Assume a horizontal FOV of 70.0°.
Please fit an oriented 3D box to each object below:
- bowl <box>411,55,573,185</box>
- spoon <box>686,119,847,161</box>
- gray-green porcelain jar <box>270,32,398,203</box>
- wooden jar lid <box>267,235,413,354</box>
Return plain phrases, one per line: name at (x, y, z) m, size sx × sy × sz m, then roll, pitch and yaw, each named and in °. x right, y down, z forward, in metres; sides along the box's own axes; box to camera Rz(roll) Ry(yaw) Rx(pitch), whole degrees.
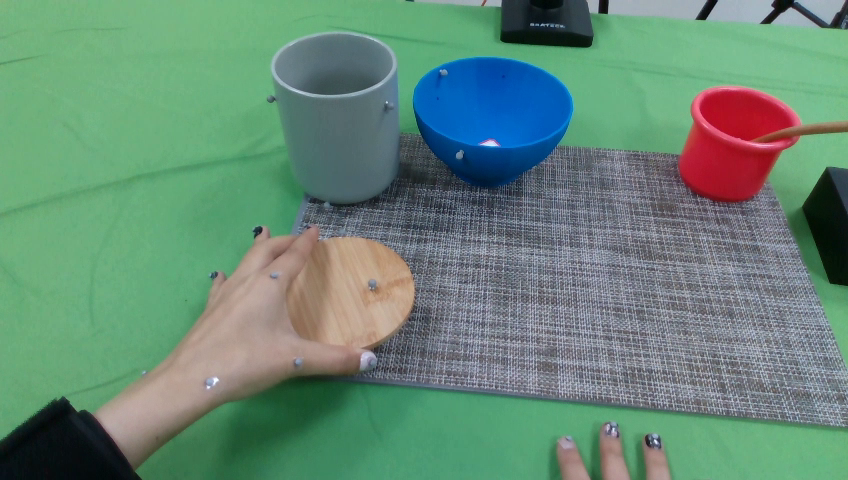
bowl at (0.062, -0.107, 0.591) m, size 0.151 × 0.077 × 0.150 m, roll 1°, pitch 47°, yaw -1°
spoon at (0.318, -0.092, 0.539) m, size 0.041 × 0.193 × 0.022 m, roll -28°, pitch 99°, yaw -23°
gray-green porcelain jar at (-0.077, -0.106, 0.552) m, size 0.106 × 0.127 × 0.105 m, roll 1°, pitch 47°, yaw -1°
wooden jar lid at (-0.063, 0.042, 0.457) m, size 0.108 × 0.021 × 0.107 m, roll 1°, pitch 47°, yaw -1°
